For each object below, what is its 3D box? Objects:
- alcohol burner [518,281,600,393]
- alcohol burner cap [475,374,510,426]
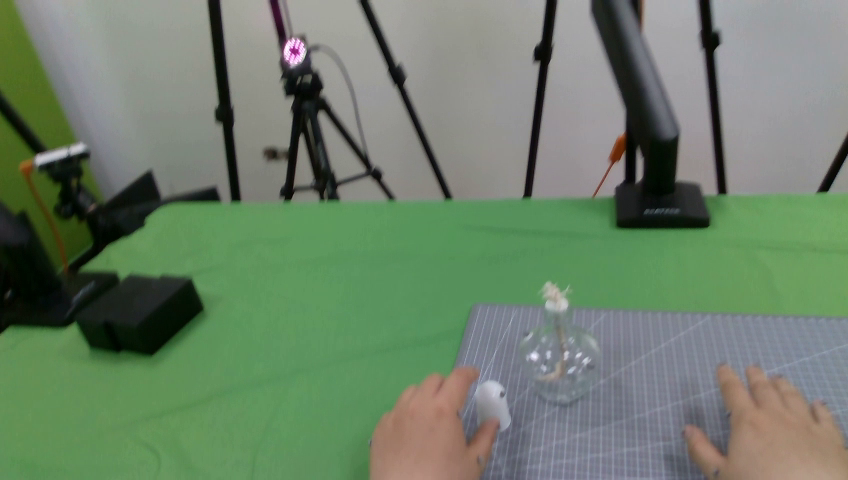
[{"bbox_3d":[0.127,0.087,0.572,0.078,0.120,0.077,-5,33,4],"label":"alcohol burner"},{"bbox_3d":[0.063,0.145,0.563,0.034,0.048,0.033,-6,33,4],"label":"alcohol burner cap"}]
